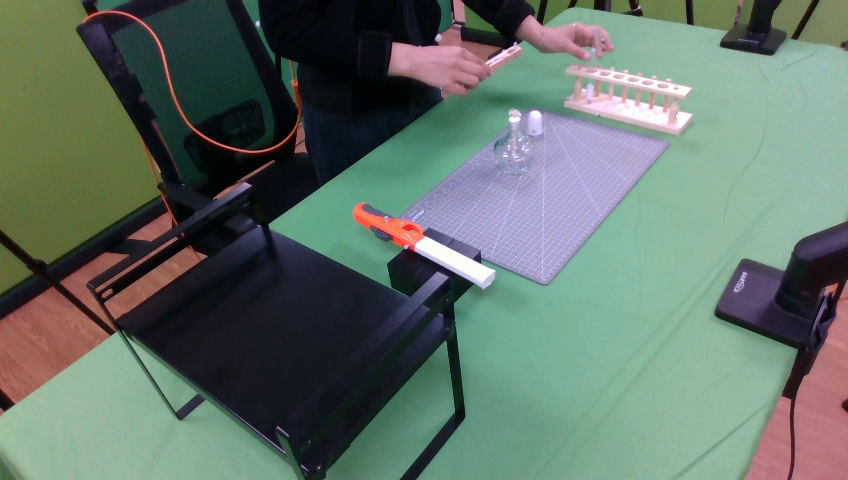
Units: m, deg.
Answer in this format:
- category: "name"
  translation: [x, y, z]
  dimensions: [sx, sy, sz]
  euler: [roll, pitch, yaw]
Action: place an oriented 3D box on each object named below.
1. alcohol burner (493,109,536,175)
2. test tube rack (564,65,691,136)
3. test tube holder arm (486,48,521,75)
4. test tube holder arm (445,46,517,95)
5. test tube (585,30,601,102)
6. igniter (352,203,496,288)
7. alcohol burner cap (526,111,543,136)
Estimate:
- category: "alcohol burner"
  translation: [0.163, -0.179, 1.087]
  dimensions: [0.078, 0.119, 0.077]
  euler: [-5, 39, 5]
- category: "test tube rack"
  translation: [0.404, -0.288, 1.204]
  dimensions: [0.240, 0.085, 0.067]
  euler: [24, 50, 32]
- category: "test tube holder arm"
  translation: [0.145, -0.331, 1.119]
  dimensions: [0.088, 0.015, 0.010]
  euler: [-34, 56, -21]
- category: "test tube holder arm"
  translation: [0.107, -0.310, 1.106]
  dimensions: [0.179, 0.015, 0.013]
  euler: [-34, 56, -21]
- category: "test tube"
  translation: [0.335, -0.342, 1.202]
  dimensions: [0.017, 0.151, 0.017]
  euler: [-3, 42, 3]
- category: "igniter"
  translation: [-0.011, 0.002, 0.899]
  dimensions: [0.274, 0.025, 0.057]
  euler: [27, 45, 33]
- category: "alcohol burner cap"
  translation: [0.219, -0.232, 1.196]
  dimensions: [0.034, 0.048, 0.033]
  euler: [-4, 41, 4]
